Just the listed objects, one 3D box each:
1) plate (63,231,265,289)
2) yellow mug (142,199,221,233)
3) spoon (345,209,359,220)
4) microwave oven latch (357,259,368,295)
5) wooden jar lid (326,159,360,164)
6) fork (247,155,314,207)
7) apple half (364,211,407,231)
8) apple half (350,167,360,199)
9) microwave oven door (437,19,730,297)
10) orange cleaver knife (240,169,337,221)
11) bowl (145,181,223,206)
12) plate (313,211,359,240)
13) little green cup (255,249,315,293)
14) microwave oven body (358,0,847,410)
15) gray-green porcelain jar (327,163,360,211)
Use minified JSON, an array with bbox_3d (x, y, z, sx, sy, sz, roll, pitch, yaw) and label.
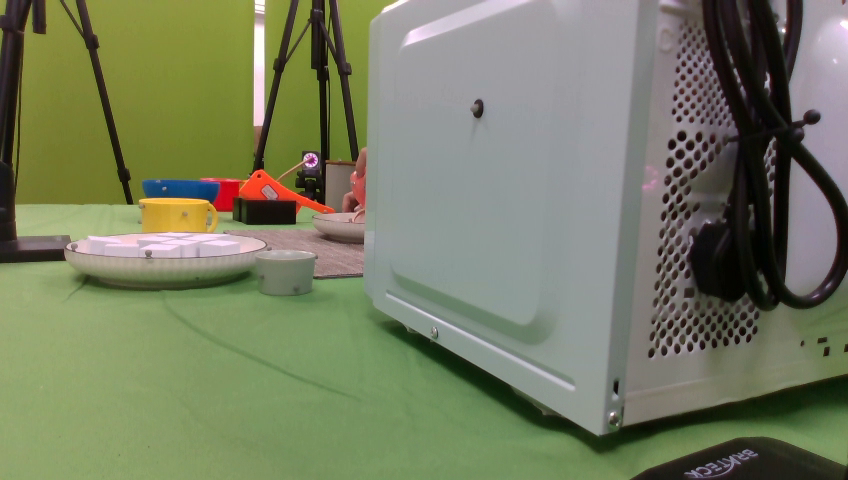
[{"bbox_3d":[-0.288,0.021,0.687,0.208,0.039,0.207,2,8,0],"label":"plate"},{"bbox_3d":[-0.373,-0.030,0.948,0.099,0.064,0.131,6,7,30],"label":"yellow mug"},{"bbox_3d":[-0.122,-0.047,1.116,0.041,0.021,0.194,4,19,16],"label":"spoon"},{"bbox_3d":[-0.019,0.031,0.530,0.079,0.029,0.030,-1,7,-27],"label":"microwave oven latch"},{"bbox_3d":[-0.185,-0.187,1.481,0.108,0.020,0.108,4,6,0],"label":"wooden jar lid"},{"bbox_3d":[-0.360,-0.147,1.522,0.207,0.018,0.028,-43,7,-7],"label":"fork"},{"bbox_3d":[-0.068,-0.036,1.102,0.081,0.033,0.081,0,7,0],"label":"apple half"},{"bbox_3d":[-0.082,-0.096,1.055,0.053,0.074,0.081,-22,-24,31],"label":"apple half"},{"bbox_3d":[0.181,-0.076,0.618,0.358,0.243,0.039,-2,8,-28],"label":"microwave oven door"},{"bbox_3d":[-0.287,-0.082,1.299,0.212,0.077,0.012,25,-2,-31],"label":"orange cleaver knife"},{"bbox_3d":[-0.499,-0.081,1.261,0.151,0.077,0.151,2,8,0],"label":"bowl"},{"bbox_3d":[-0.091,-0.026,1.063,0.209,0.038,0.209,2,7,0],"label":"plate"},{"bbox_3d":[-0.144,0.032,0.627,0.061,0.038,0.061,2,5,0],"label":"little green cup"},{"bbox_3d":[0.210,-0.051,0.471,0.444,0.260,0.324,-1,7,-28],"label":"microwave oven body"},{"bbox_3d":[-0.187,-0.125,1.490,0.106,0.126,0.106,2,8,0],"label":"gray-green porcelain jar"}]
